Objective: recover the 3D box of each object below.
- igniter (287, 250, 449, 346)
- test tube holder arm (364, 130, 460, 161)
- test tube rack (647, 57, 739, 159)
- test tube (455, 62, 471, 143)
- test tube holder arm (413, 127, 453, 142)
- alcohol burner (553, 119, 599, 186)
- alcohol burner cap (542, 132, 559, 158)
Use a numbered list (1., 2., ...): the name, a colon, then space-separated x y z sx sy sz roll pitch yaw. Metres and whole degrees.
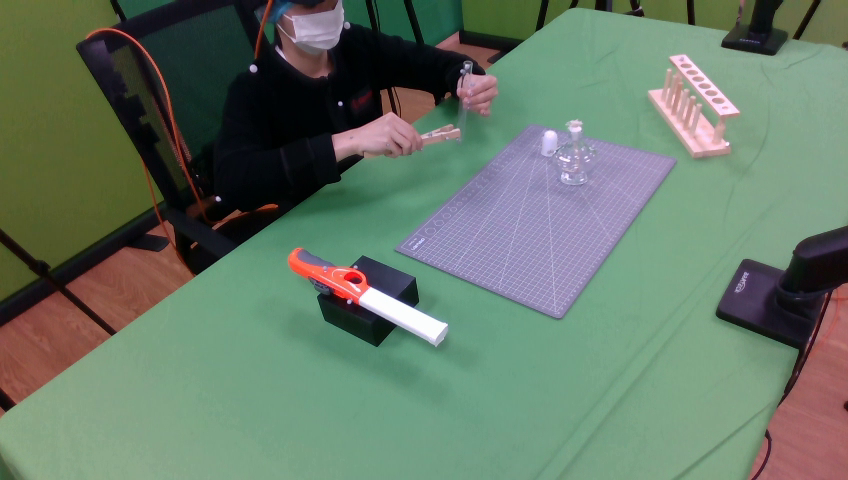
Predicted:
1. igniter: -0.087 0.073 0.825 0.274 0.025 0.057 23 48 28
2. test tube holder arm: -0.019 -0.165 1.049 0.179 0.015 0.013 -18 30 -19
3. test tube rack: 0.504 -0.257 1.153 0.067 0.085 0.241 -7 40 1
4. test tube: 0.067 -0.238 1.057 0.017 0.150 0.017 3 39 -2
5. test tube holder arm: 0.017 -0.181 1.071 0.088 0.015 0.010 -27 35 -32
6. alcohol burner: 0.261 -0.153 1.042 0.078 0.119 0.077 -6 40 6
7. alcohol burner cap: 0.237 -0.180 1.134 0.034 0.048 0.033 -5 40 5
